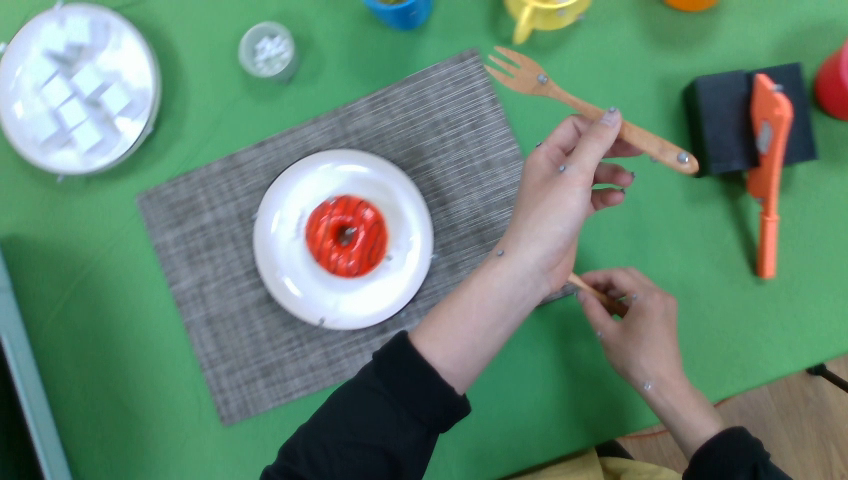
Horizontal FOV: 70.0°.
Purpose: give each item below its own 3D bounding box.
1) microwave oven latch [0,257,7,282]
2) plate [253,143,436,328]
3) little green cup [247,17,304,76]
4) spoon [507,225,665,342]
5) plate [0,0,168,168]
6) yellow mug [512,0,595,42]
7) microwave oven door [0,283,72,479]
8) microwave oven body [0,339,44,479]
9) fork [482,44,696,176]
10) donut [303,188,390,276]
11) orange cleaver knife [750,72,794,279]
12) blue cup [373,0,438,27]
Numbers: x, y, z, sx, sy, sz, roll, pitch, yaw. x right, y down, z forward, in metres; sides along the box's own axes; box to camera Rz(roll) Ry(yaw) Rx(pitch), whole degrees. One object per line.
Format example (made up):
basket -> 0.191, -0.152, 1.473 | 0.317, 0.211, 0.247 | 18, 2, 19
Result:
microwave oven latch -> -0.530, 0.015, 0.725 | 0.030, 0.029, 0.079 | -16, 89, 6
plate -> -0.089, -0.005, 0.690 | 0.209, 0.038, 0.209 | 0, 90, 7
little green cup -> -0.170, -0.221, 0.703 | 0.061, 0.039, 0.061 | 0, 89, 7
spoon -> 0.166, 0.048, 0.621 | 0.193, 0.022, 0.041 | 34, 64, 4
plate -> -0.403, -0.189, 0.729 | 0.207, 0.039, 0.207 | 0, 90, 7
yellow mug -> 0.136, -0.275, 0.653 | 0.100, 0.064, 0.131 | 27, 94, 6
microwave oven door -> -0.476, 0.223, 0.617 | 0.039, 0.244, 0.355 | -19, 87, 6
microwave oven body -> -0.626, 0.228, 0.639 | 0.326, 0.260, 0.441 | -18, 88, 6
fork -> 0.114, -0.100, 0.449 | 0.028, 0.019, 0.205 | -54, 50, 10
donut -> -0.087, -0.009, 0.678 | 0.099, 0.048, 0.099 | 0, 92, 8
orange cleaver knife -> 0.350, -0.061, 0.621 | 0.012, 0.076, 0.213 | -6, 118, 9
blue cup -> -0.020, -0.277, 0.654 | 0.092, 0.100, 0.092 | 0, 91, 6
